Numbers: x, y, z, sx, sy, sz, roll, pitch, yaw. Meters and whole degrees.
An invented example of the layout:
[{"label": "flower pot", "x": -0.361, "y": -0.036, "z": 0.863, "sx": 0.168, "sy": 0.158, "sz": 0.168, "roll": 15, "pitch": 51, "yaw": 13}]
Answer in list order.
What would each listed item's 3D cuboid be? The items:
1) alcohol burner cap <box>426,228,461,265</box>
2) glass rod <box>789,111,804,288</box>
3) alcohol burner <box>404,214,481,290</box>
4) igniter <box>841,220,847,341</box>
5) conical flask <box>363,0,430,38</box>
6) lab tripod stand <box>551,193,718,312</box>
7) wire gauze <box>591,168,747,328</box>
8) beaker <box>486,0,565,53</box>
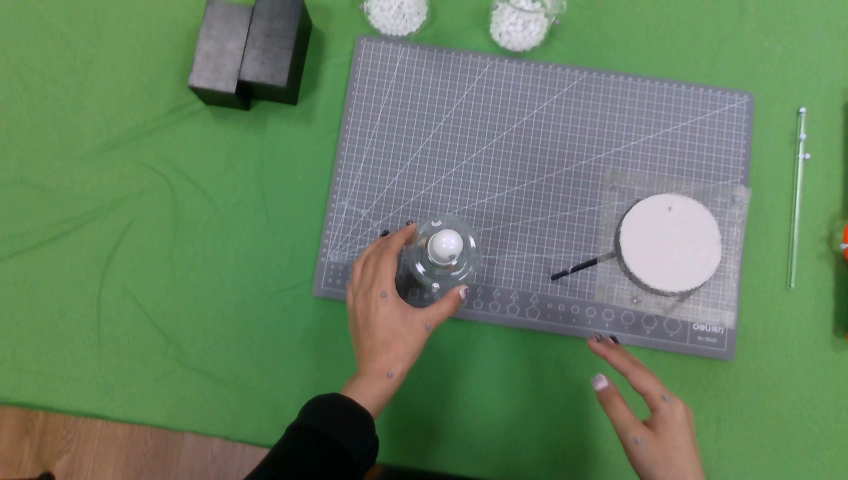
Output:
[{"label": "alcohol burner cap", "x": 0.020, "y": 0.004, "z": 0.559, "sx": 0.034, "sy": 0.048, "sz": 0.034, "roll": 1, "pitch": 83, "yaw": -5}, {"label": "glass rod", "x": 0.407, "y": -0.046, "z": 0.660, "sx": 0.008, "sy": 0.008, "sz": 0.199, "roll": 8, "pitch": 81, "yaw": 1}, {"label": "alcohol burner", "x": 0.018, "y": 0.010, "z": 0.594, "sx": 0.078, "sy": 0.119, "sz": 0.077, "roll": 0, "pitch": 83, "yaw": 0}, {"label": "igniter", "x": 0.475, "y": -0.026, "z": 0.649, "sx": 0.057, "sy": 0.025, "sz": 0.275, "roll": 9, "pitch": 82, "yaw": -10}, {"label": "conical flask", "x": -0.031, "y": -0.272, "z": 0.632, "sx": 0.075, "sy": 0.122, "sz": 0.075, "roll": 0, "pitch": 81, "yaw": 0}, {"label": "lab tripod stand", "x": 0.206, "y": 0.015, "z": 0.585, "sx": 0.148, "sy": 0.132, "sz": 0.148, "roll": 0, "pitch": 83, "yaw": 1}, {"label": "wire gauze", "x": 0.210, "y": 0.005, "z": 0.518, "sx": 0.125, "sy": 0.011, "sz": 0.121, "roll": 10, "pitch": 83, "yaw": 2}, {"label": "beaker", "x": 0.107, "y": -0.249, "z": 0.642, "sx": 0.084, "sy": 0.100, "sz": 0.074, "roll": 45, "pitch": 84, "yaw": 5}]
